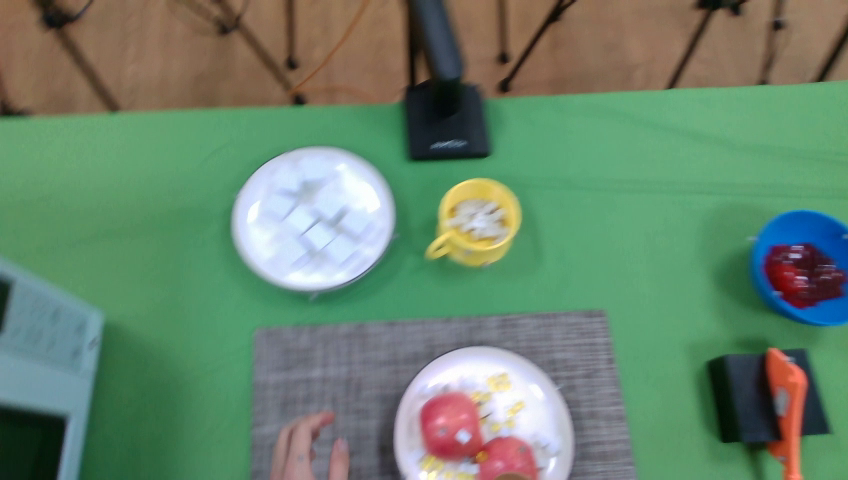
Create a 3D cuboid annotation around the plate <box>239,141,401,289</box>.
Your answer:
[{"bbox_3d":[-0.134,-0.032,0.800,0.208,0.039,0.206,1,70,-2],"label":"plate"}]

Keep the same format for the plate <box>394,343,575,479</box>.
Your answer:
[{"bbox_3d":[0.068,0.227,0.709,0.209,0.038,0.207,1,70,-2],"label":"plate"}]

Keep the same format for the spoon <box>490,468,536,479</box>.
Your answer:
[{"bbox_3d":[0.153,0.273,0.586,0.193,0.022,0.041,23,94,10],"label":"spoon"}]

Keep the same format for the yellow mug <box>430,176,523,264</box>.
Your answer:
[{"bbox_3d":[0.063,-0.017,0.787,0.131,0.064,0.099,-33,74,-12],"label":"yellow mug"}]

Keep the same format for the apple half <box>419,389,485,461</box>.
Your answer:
[{"bbox_3d":[0.032,0.212,0.696,0.075,0.053,0.080,-5,71,-1],"label":"apple half"}]

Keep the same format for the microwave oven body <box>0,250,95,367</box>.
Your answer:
[{"bbox_3d":[-0.546,0.241,0.561,0.326,0.261,0.438,1,70,-2],"label":"microwave oven body"}]

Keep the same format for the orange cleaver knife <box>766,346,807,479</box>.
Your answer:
[{"bbox_3d":[0.417,0.231,0.700,0.012,0.077,0.211,-2,93,2],"label":"orange cleaver knife"}]

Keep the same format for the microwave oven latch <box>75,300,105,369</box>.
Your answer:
[{"bbox_3d":[-0.401,0.111,0.717,0.030,0.029,0.078,3,70,-2],"label":"microwave oven latch"}]

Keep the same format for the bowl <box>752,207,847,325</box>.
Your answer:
[{"bbox_3d":[0.484,0.042,0.774,0.151,0.077,0.150,1,70,-1],"label":"bowl"}]

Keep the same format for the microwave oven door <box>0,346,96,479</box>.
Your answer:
[{"bbox_3d":[-0.400,0.281,0.547,0.039,0.245,0.353,0,70,-2],"label":"microwave oven door"}]

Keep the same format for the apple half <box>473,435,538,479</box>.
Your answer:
[{"bbox_3d":[0.095,0.261,0.690,0.081,0.033,0.080,1,66,-1],"label":"apple half"}]
